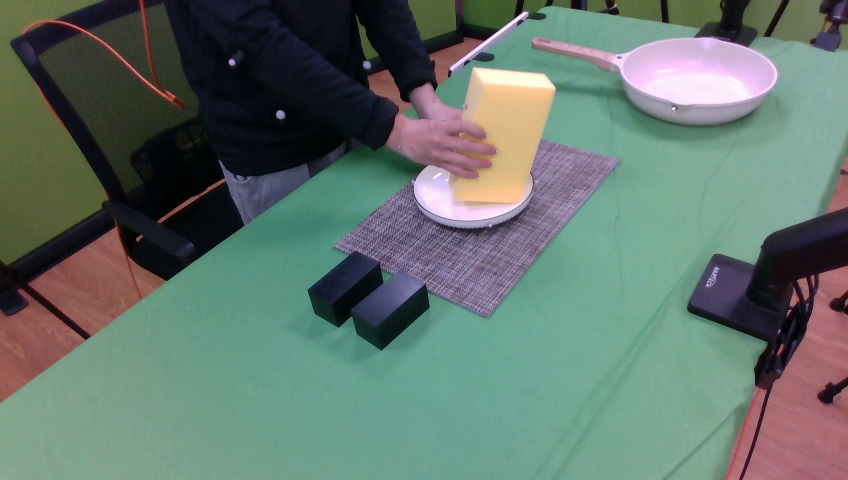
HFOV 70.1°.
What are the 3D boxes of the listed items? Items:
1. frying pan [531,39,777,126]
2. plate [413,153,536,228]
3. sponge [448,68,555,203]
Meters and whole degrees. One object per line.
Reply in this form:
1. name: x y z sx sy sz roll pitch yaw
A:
1. frying pan: 0.452 -0.354 1.254 0.485 0.103 0.307 22 47 19
2. plate: 0.086 -0.085 1.038 0.207 0.039 0.206 -4 41 4
3. sponge: 0.118 -0.162 0.967 0.119 0.207 0.060 2 37 -14
